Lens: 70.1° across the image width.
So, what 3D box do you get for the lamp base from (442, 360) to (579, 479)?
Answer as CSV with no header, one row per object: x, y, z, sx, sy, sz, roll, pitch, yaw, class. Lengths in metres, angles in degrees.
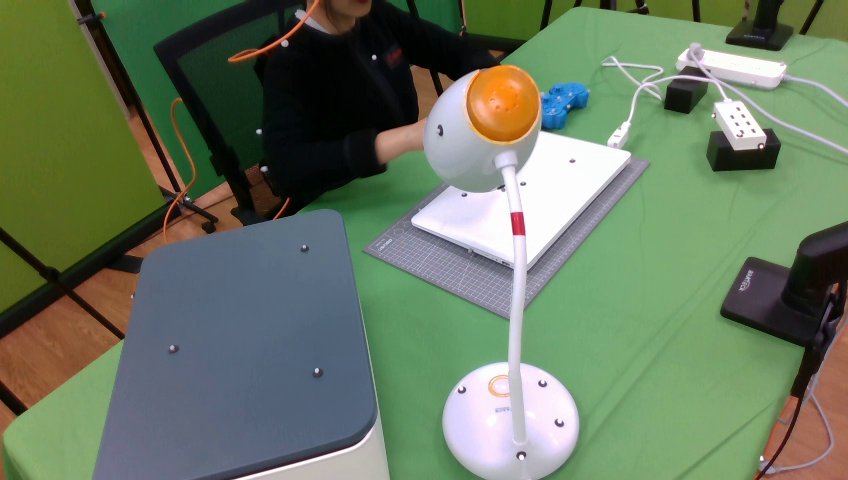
0.094,0.158,0.657,0.161,0.181,0.178,-14,42,-5,lamp base

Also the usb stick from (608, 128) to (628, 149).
0.353,-0.178,1.110,0.021,0.027,0.059,21,57,30,usb stick

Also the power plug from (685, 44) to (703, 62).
0.568,-0.390,1.294,0.073,0.053,0.035,-33,46,-22,power plug

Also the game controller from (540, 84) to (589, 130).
0.273,-0.282,1.251,0.096,0.052,0.155,26,52,30,game controller

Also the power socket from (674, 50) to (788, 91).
0.646,-0.363,1.284,0.225,0.033,0.072,25,52,34,power socket

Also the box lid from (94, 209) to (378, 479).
-0.202,0.094,0.680,0.264,0.015,0.368,-13,39,-5,box lid

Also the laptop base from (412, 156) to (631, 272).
0.176,-0.084,1.055,0.233,0.023,0.355,21,48,36,laptop base

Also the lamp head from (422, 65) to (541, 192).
0.060,-0.106,0.560,0.113,0.112,0.122,-16,0,-8,lamp head

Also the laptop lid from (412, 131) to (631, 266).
0.173,-0.093,1.049,0.239,0.013,0.358,23,50,36,laptop lid

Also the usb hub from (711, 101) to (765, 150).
0.537,-0.198,1.038,0.049,0.025,0.124,-4,39,8,usb hub

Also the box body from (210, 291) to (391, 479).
-0.190,0.161,0.723,0.255,0.161,0.361,-13,40,-5,box body
